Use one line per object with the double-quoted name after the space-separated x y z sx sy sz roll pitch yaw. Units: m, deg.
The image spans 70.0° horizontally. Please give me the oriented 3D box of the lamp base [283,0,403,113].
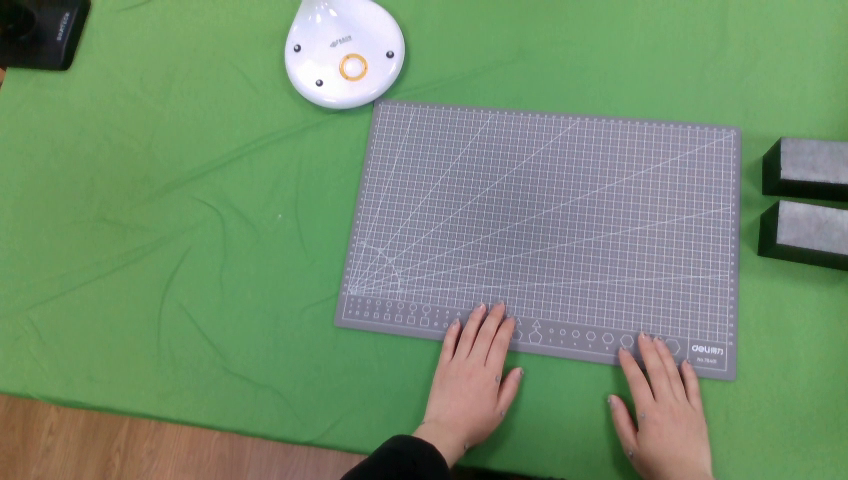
-0.124 -0.272 0.733 0.160 0.181 0.178 -34 70 -4 "lamp base"
